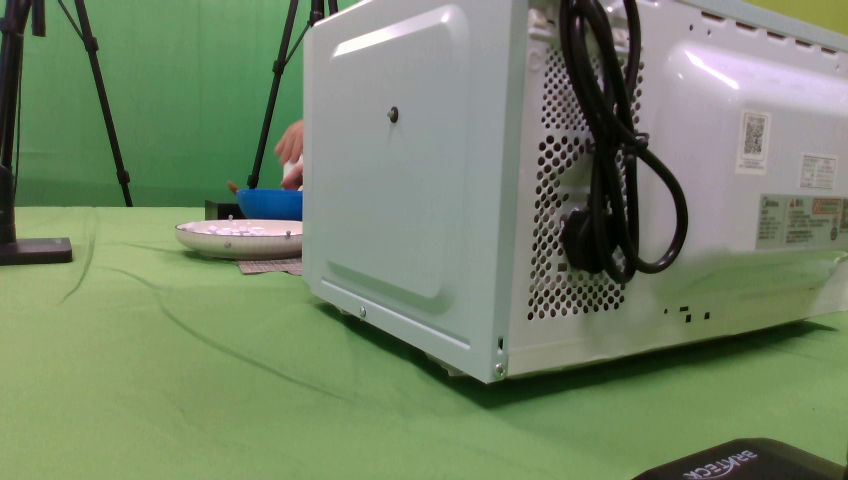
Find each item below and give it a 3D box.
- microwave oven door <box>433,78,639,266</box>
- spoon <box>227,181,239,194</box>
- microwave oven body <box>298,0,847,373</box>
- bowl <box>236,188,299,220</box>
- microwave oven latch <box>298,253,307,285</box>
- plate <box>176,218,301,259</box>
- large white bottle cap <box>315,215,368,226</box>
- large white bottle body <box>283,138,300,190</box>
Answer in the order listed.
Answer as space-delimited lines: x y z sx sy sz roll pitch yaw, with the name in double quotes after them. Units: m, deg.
0.145 -0.106 0.905 0.039 0.243 0.354 -4 10 -40 "microwave oven door"
-0.315 -0.074 1.235 0.195 0.021 0.041 24 -10 -37 "spoon"
0.151 -0.055 0.543 0.444 0.260 0.324 -2 7 -33 "microwave oven body"
-0.253 -0.047 1.064 0.151 0.077 0.151 3 8 0 "bowl"
-0.081 0.027 0.582 0.079 0.029 0.030 -1 7 -32 "microwave oven latch"
-0.248 -0.003 0.877 0.209 0.038 0.209 1 8 0 "plate"
-0.177 -0.042 1.309 0.115 0.018 0.115 2 6 0 "large white bottle cap"
-0.265 -0.144 1.424 0.131 0.184 0.130 2 7 0 "large white bottle body"
